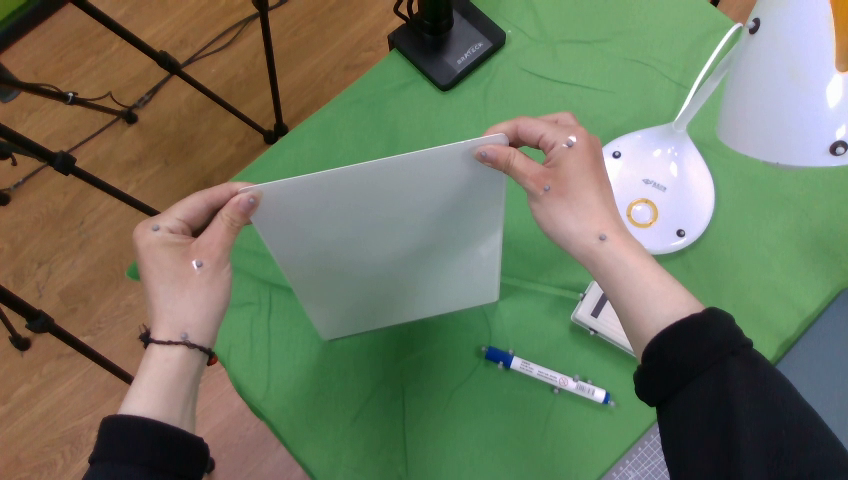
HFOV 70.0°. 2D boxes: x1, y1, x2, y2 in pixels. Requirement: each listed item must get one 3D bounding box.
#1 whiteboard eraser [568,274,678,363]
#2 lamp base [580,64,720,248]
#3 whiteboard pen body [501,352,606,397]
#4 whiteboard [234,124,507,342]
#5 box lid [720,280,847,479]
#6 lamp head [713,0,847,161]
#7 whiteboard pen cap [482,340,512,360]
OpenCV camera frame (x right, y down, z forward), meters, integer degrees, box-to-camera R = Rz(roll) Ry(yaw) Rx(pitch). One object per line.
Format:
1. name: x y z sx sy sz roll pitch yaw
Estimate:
1. whiteboard eraser: 0.228 0.090 0.696 0.112 0.042 0.055 30 78 10
2. lamp base: 0.273 -0.102 0.681 0.160 0.181 0.178 15 71 7
3. whiteboard pen body: 0.139 0.149 0.692 0.140 0.017 0.017 18 74 9
4. whiteboard: -0.041 -0.039 0.627 0.217 0.308 0.142 -12 58 -2
5. box lid: 0.538 0.246 0.652 0.263 0.015 0.369 -42 76 -11
6. lamp head: 0.257 -0.130 0.401 0.112 0.124 0.111 -6 29 4
7. whiteboard pen cap: 0.085 0.128 0.700 0.033 0.018 0.018 19 74 11
